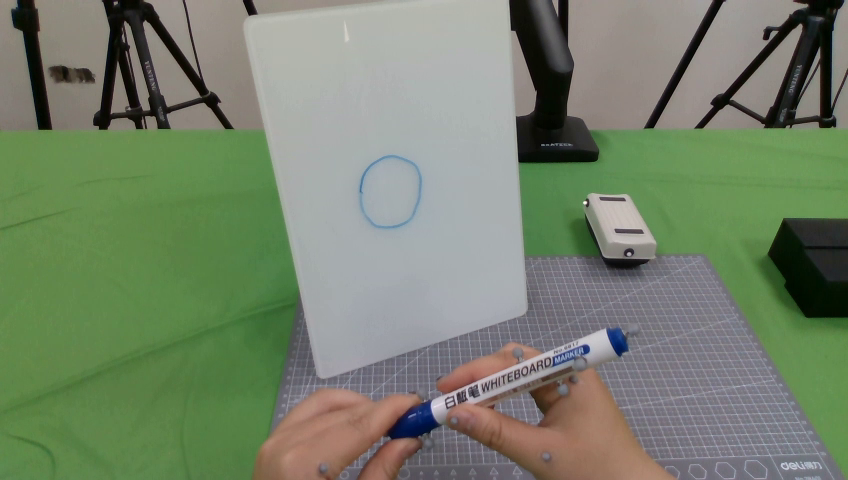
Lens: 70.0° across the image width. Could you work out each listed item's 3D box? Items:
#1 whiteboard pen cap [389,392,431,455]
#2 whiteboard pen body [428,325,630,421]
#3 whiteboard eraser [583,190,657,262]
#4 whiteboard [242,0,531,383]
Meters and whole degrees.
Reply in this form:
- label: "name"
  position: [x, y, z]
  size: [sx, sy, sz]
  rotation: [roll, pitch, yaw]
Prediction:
- label: "whiteboard pen cap"
  position: [-0.008, 0.106, 0.351]
  size: [0.018, 0.033, 0.018]
  rotation: [23, -1, 1]
- label: "whiteboard pen body"
  position: [0.045, 0.078, 0.332]
  size: [0.140, 0.017, 0.017]
  rotation: [-27, 31, 22]
- label: "whiteboard eraser"
  position: [0.221, -0.017, 0.692]
  size: [0.055, 0.042, 0.111]
  rotation: [-1, 34, 0]
- label: "whiteboard"
  position: [-0.036, -0.061, 0.573]
  size: [0.218, 0.307, 0.142]
  rotation: [-15, 21, -18]
